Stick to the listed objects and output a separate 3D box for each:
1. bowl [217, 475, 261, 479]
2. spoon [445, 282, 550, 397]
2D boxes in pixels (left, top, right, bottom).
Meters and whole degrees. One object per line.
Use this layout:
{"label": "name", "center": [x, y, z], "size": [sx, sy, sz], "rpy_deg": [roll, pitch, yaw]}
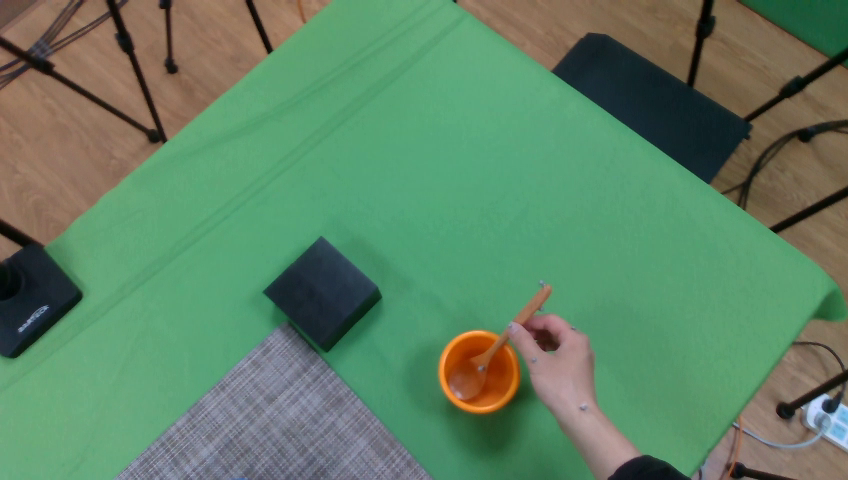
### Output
{"label": "bowl", "center": [-0.195, 0.333, 0.654], "size": [0.151, 0.077, 0.150], "rpy_deg": [-1, 71, 2]}
{"label": "spoon", "center": [0.082, 0.115, 0.684], "size": [0.041, 0.194, 0.021], "rpy_deg": [45, 35, 14]}
